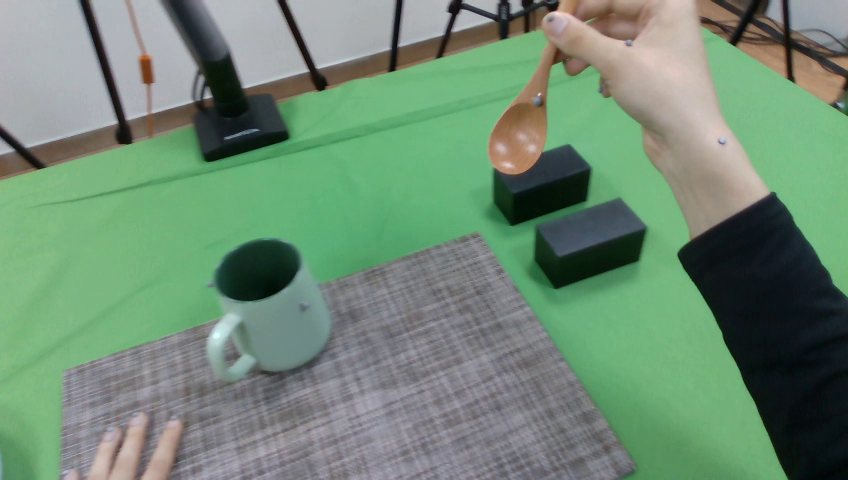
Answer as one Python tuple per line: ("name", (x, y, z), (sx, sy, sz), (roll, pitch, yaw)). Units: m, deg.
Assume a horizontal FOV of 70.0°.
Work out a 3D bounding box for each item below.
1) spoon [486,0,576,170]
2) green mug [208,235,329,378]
("spoon", (0.091, -0.142, 0.426), (0.041, 0.194, 0.021), (24, 16, 13))
("green mug", (-0.148, 0.070, 0.556), (0.092, 0.106, 0.125), (17, 50, 21))
